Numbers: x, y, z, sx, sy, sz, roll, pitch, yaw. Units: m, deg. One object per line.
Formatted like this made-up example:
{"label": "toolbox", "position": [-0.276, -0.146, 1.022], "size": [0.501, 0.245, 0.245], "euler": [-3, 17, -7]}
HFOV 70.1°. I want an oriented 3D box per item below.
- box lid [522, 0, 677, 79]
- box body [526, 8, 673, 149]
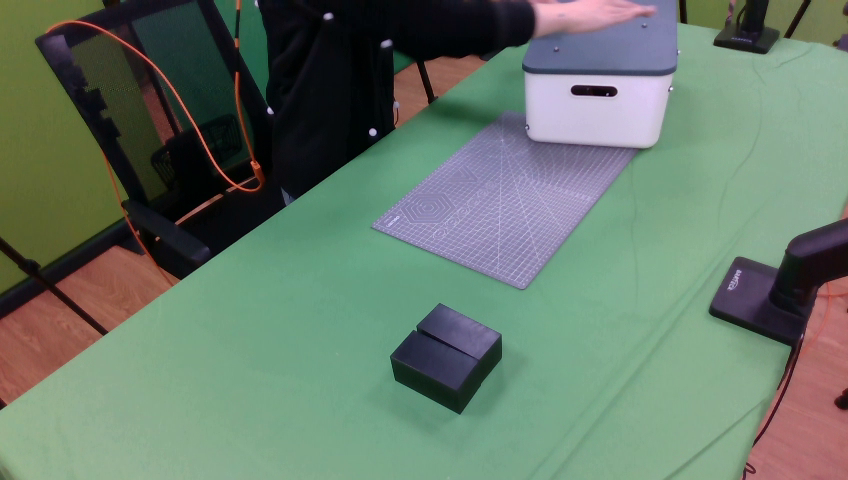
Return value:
{"label": "box lid", "position": [0.346, -0.397, 1.163], "size": [0.262, 0.015, 0.371], "euler": [6, 41, 17]}
{"label": "box body", "position": [0.356, -0.342, 1.212], "size": [0.253, 0.161, 0.363], "euler": [7, 42, 17]}
